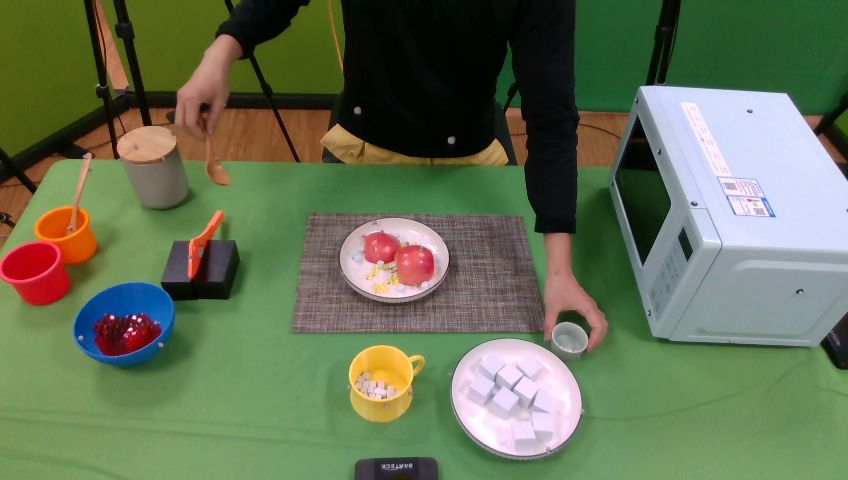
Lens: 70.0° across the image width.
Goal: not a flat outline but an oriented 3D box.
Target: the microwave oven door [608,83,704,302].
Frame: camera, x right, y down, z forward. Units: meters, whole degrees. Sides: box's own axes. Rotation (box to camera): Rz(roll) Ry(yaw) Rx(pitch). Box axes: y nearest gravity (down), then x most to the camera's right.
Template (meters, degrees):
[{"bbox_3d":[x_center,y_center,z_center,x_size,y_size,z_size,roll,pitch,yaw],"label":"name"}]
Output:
[{"bbox_3d":[0.425,-0.096,1.138,0.039,0.245,0.353,2,47,-1],"label":"microwave oven door"}]

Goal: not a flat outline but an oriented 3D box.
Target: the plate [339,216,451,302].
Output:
[{"bbox_3d":[-0.054,0.038,1.138,0.209,0.038,0.208,2,46,-2],"label":"plate"}]

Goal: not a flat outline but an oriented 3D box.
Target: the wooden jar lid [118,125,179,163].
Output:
[{"bbox_3d":[-0.528,-0.181,1.167,0.108,0.021,0.107,4,48,-4],"label":"wooden jar lid"}]

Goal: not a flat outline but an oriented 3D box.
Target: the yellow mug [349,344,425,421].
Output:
[{"bbox_3d":[-0.054,0.217,0.954,0.131,0.064,0.099,-24,53,-25],"label":"yellow mug"}]

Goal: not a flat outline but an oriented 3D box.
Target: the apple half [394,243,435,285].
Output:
[{"bbox_3d":[-0.016,0.037,1.120,0.075,0.053,0.080,1,46,-6],"label":"apple half"}]

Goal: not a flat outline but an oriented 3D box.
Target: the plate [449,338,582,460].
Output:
[{"bbox_3d":[0.141,0.251,0.955,0.208,0.039,0.206,2,47,-2],"label":"plate"}]

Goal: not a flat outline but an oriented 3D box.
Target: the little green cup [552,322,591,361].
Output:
[{"bbox_3d":[0.248,0.175,1.034,0.061,0.039,0.061,8,39,-7],"label":"little green cup"}]

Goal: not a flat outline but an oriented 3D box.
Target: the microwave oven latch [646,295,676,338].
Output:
[{"bbox_3d":[0.413,0.133,1.060,0.030,0.029,0.078,4,46,1],"label":"microwave oven latch"}]

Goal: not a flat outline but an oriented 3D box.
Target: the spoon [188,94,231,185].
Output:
[{"bbox_3d":[-0.385,-0.180,1.077,0.042,0.021,0.193,-10,75,-39],"label":"spoon"}]

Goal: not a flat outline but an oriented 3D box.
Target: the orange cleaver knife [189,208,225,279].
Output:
[{"bbox_3d":[-0.400,0.002,1.122,0.012,0.077,0.210,4,23,-4],"label":"orange cleaver knife"}]

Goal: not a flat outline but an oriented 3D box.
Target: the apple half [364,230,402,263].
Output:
[{"bbox_3d":[-0.079,0.005,1.159,0.081,0.033,0.081,3,49,-3],"label":"apple half"}]

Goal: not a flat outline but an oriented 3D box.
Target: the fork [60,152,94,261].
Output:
[{"bbox_3d":[-0.638,-0.063,1.119,0.028,0.018,0.207,12,90,7],"label":"fork"}]

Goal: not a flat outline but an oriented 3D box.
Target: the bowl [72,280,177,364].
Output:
[{"bbox_3d":[-0.472,0.147,0.982,0.151,0.077,0.150,2,46,-2],"label":"bowl"}]

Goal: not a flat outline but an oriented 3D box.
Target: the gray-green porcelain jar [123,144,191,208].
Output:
[{"bbox_3d":[-0.530,-0.137,1.213,0.106,0.127,0.105,2,46,-1],"label":"gray-green porcelain jar"}]

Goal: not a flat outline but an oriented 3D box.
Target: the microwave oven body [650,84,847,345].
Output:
[{"bbox_3d":[0.569,-0.054,1.116,0.326,0.261,0.439,2,46,-1],"label":"microwave oven body"}]
